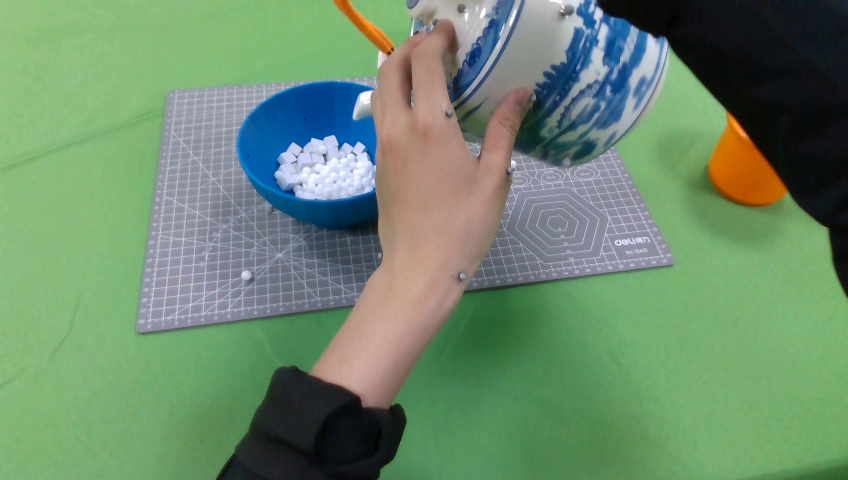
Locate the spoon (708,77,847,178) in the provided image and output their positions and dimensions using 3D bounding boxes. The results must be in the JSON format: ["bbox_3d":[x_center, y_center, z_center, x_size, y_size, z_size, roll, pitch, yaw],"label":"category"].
[{"bbox_3d":[0.354,-0.118,0.554,0.022,0.194,0.041,27,36,-40],"label":"spoon"}]

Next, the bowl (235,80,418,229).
[{"bbox_3d":[-0.081,-0.063,0.532,0.151,0.077,0.150,1,51,-1],"label":"bowl"}]

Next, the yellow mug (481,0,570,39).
[{"bbox_3d":[0.108,-0.266,0.650,0.099,0.064,0.130,21,56,14],"label":"yellow mug"}]

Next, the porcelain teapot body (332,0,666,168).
[{"bbox_3d":[0.029,-0.131,0.433,0.227,0.205,0.144,14,57,-30],"label":"porcelain teapot body"}]

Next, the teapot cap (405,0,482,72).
[{"bbox_3d":[0.011,-0.152,0.393,0.044,0.085,0.084,10,46,-30],"label":"teapot cap"}]
